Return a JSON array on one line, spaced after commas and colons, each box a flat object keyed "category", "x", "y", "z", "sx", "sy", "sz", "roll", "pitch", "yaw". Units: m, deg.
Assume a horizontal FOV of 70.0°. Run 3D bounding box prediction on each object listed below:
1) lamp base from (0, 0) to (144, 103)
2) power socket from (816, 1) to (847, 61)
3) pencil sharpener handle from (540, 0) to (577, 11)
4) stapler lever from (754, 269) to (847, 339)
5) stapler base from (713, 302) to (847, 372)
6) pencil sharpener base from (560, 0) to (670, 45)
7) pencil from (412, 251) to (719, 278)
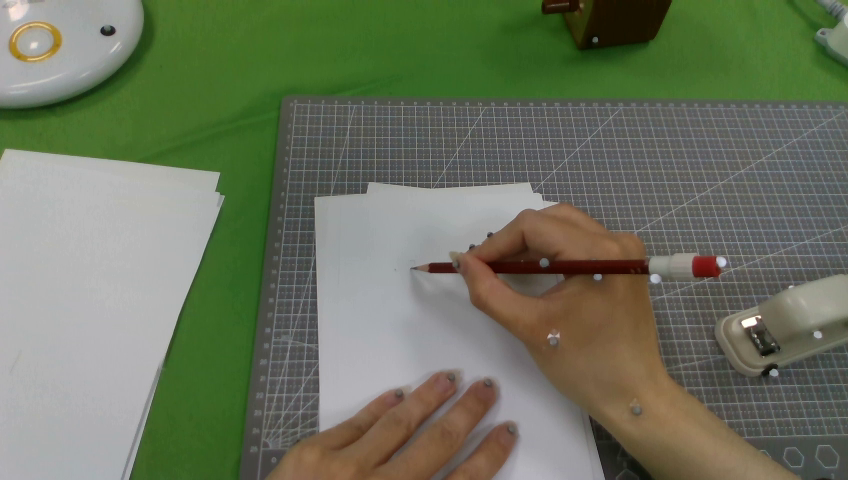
[{"category": "lamp base", "x": -0.306, "y": -0.215, "z": 0.406, "sx": 0.161, "sy": 0.181, "sz": 0.177, "roll": -29, "pitch": 64, "yaw": -17}, {"category": "power socket", "x": 0.432, "y": -0.127, "z": 0.482, "sx": 0.072, "sy": 0.033, "sz": 0.225, "roll": -39, "pitch": 70, "yaw": -21}, {"category": "pencil sharpener handle", "x": 0.104, "y": -0.205, "z": 0.449, "sx": 0.031, "sy": 0.068, "sz": 0.035, "roll": -11, "pitch": 40, "yaw": -8}, {"category": "stapler lever", "x": 0.252, "y": 0.032, "z": 0.361, "sx": 0.118, "sy": 0.040, "sz": 0.026, "roll": -15, "pitch": 64, "yaw": -12}, {"category": "stapler base", "x": 0.249, "y": 0.045, "z": 0.383, "sx": 0.131, "sy": 0.024, "sz": 0.041, "roll": -15, "pitch": 64, "yaw": -12}, {"category": "pencil sharpener base", "x": 0.152, "y": -0.213, "z": 0.471, "sx": 0.077, "sy": 0.108, "sz": 0.061, "roll": -11, "pitch": 63, "yaw": -8}, {"category": "pencil", "x": 0.058, "y": 0.014, "z": 0.324, "sx": 0.193, "sy": 0.012, "sz": 0.012, "roll": -4, "pitch": 49, "yaw": 47}]
